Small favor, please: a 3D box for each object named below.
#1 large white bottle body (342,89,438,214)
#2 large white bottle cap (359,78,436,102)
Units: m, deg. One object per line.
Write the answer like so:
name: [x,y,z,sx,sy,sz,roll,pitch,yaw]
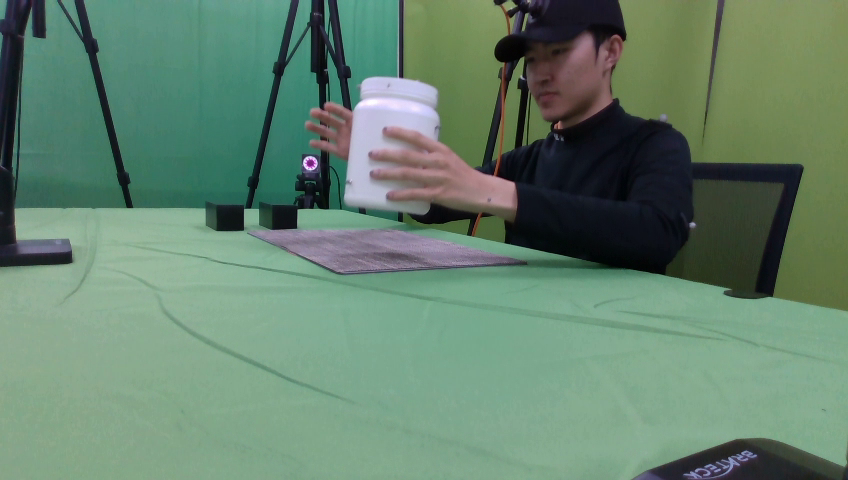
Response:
large white bottle body: [-0.048,-0.137,0.904,0.131,0.184,0.130,6,2,0]
large white bottle cap: [-0.039,-0.220,0.900,0.115,0.018,0.115,5,3,0]
